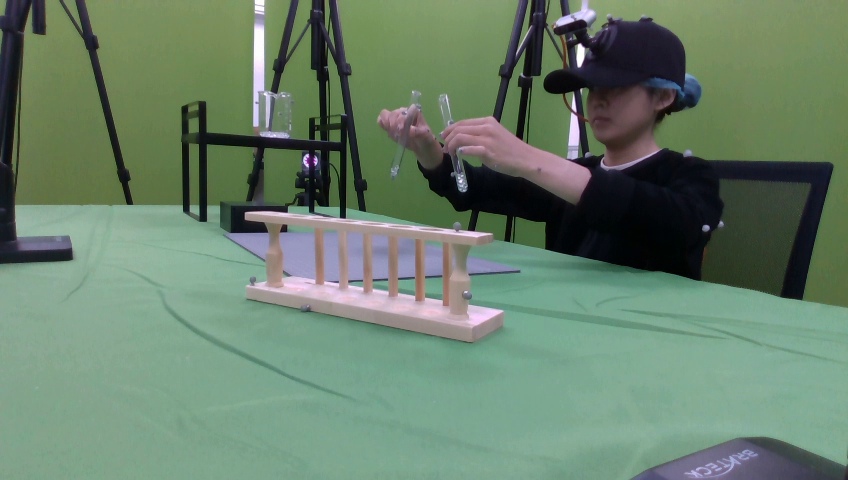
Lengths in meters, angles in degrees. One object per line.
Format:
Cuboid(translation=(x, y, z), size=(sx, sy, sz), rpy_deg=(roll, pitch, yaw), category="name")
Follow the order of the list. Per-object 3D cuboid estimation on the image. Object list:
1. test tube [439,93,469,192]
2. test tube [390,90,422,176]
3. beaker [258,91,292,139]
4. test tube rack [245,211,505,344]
Cuboid(translation=(0.045, -0.143, 0.888), size=(0.017, 0.150, 0.017), rpy_deg=(-12, -4, 0), category="test tube")
Cuboid(translation=(-0.032, -0.175, 1.006), size=(0.017, 0.150, 0.017), rpy_deg=(15, 24, -7), category="test tube")
Cuboid(translation=(-0.331, -0.276, 1.343), size=(0.074, 0.100, 0.083), rpy_deg=(0, 8, -20), category="beaker")
Cuboid(translation=(-0.049, 0.025, 0.547), size=(0.241, 0.085, 0.067), rpy_deg=(7, 8, 28), category="test tube rack")
